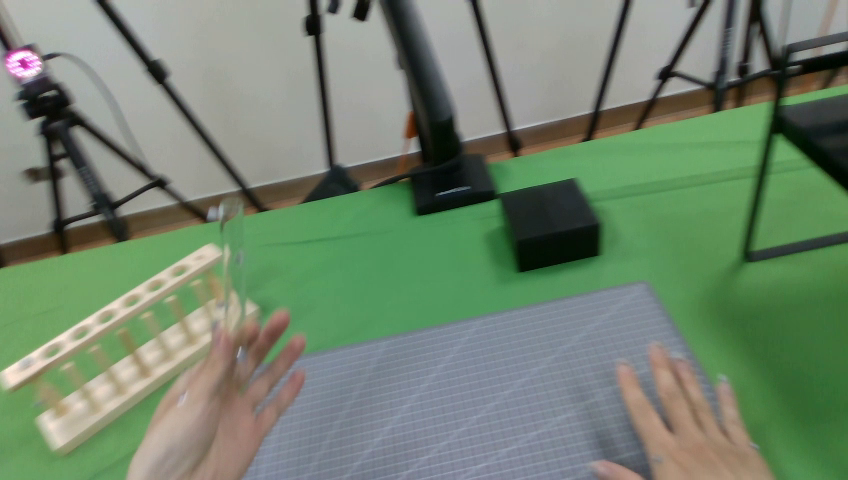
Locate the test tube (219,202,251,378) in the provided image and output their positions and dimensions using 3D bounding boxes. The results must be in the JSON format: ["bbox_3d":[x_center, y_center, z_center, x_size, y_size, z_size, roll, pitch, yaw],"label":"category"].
[{"bbox_3d":[-0.138,0.042,0.446,0.017,0.151,0.017,5,28,-2],"label":"test tube"}]

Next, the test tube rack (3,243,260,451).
[{"bbox_3d":[-0.313,0.110,0.676,0.066,0.086,0.242,26,51,39],"label":"test tube rack"}]
